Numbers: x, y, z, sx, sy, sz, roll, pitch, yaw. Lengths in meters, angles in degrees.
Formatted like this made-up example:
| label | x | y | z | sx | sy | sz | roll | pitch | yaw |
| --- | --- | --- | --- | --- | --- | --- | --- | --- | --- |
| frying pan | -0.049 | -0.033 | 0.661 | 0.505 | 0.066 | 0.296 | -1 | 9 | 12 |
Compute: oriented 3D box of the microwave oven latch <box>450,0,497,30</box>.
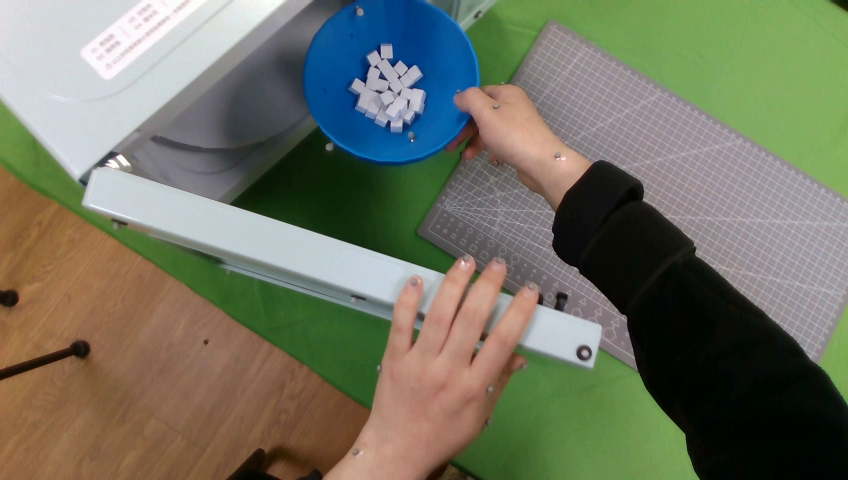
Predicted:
| label | x | y | z | sx | sy | sz | roll | pitch | yaw |
| --- | --- | --- | --- | --- | --- | --- | --- | --- | --- |
| microwave oven latch | 0.055 | -0.263 | 0.671 | 0.079 | 0.029 | 0.030 | -42 | 86 | -8 |

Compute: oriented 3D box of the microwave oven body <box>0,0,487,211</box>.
| label | x | y | z | sx | sy | sz | roll | pitch | yaw |
| --- | --- | --- | --- | --- | --- | --- | --- | --- | --- |
| microwave oven body | -0.171 | -0.263 | 0.559 | 0.441 | 0.260 | 0.325 | -44 | 86 | -8 |

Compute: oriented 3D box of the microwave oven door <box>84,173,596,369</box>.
| label | x | y | z | sx | sy | sz | roll | pitch | yaw |
| --- | --- | --- | --- | --- | --- | --- | --- | --- | --- |
| microwave oven door | -0.059 | 0.037 | 0.514 | 0.356 | 0.244 | 0.039 | 18 | 79 | 0 |

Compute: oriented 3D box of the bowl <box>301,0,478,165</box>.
| label | x | y | z | sx | sy | sz | roll | pitch | yaw |
| --- | --- | --- | --- | --- | --- | --- | --- | --- | --- |
| bowl | -0.029 | -0.131 | 0.548 | 0.151 | 0.077 | 0.151 | 0 | 80 | -1 |
